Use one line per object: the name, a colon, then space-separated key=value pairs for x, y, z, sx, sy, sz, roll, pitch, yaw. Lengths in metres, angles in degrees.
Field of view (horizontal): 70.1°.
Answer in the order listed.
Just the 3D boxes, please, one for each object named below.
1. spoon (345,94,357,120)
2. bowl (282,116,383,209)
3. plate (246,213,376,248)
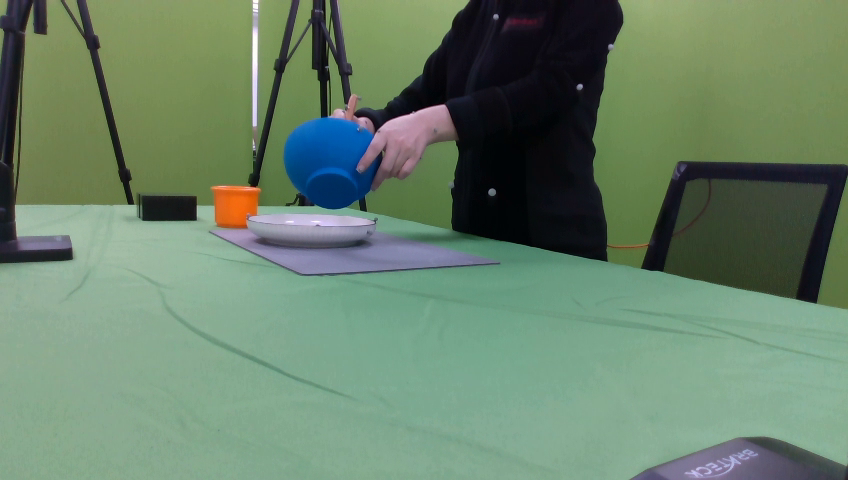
spoon: x=-0.135 y=-0.161 z=0.991 sx=0.041 sy=0.193 sz=0.021 roll=8 pitch=-28 yaw=1
bowl: x=-0.136 y=-0.098 z=0.890 sx=0.152 sy=0.151 sz=0.076 roll=1 pitch=48 yaw=-6
plate: x=-0.185 y=-0.017 z=0.994 sx=0.209 sy=0.038 sz=0.209 roll=3 pitch=8 yaw=0
